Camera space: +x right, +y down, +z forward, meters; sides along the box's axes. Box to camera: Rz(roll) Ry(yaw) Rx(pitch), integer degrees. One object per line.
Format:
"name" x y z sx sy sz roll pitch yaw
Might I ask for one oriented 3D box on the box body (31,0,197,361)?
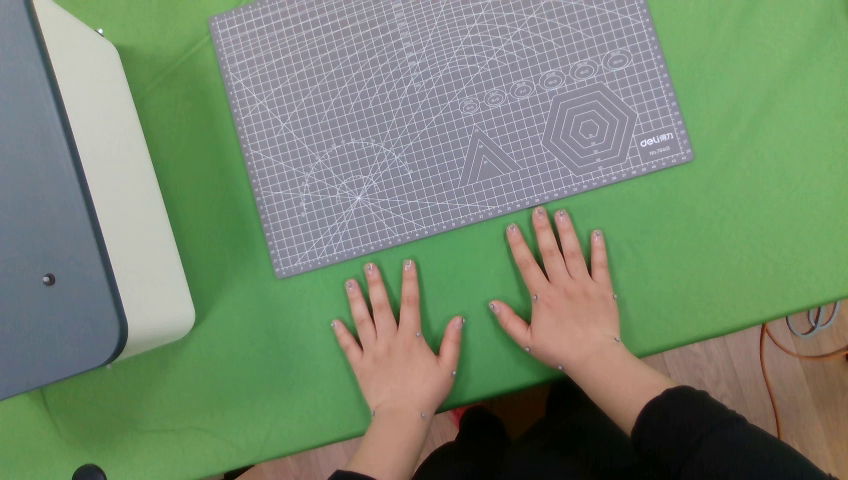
"box body" -0.412 -0.032 0.604 0.254 0.160 0.363 -19 86 5

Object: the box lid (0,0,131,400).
"box lid" -0.421 -0.038 0.531 0.263 0.015 0.371 -19 87 6
